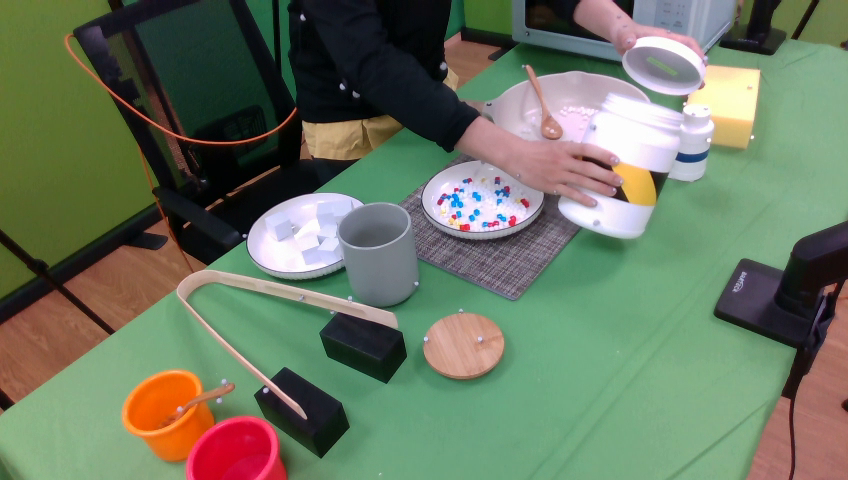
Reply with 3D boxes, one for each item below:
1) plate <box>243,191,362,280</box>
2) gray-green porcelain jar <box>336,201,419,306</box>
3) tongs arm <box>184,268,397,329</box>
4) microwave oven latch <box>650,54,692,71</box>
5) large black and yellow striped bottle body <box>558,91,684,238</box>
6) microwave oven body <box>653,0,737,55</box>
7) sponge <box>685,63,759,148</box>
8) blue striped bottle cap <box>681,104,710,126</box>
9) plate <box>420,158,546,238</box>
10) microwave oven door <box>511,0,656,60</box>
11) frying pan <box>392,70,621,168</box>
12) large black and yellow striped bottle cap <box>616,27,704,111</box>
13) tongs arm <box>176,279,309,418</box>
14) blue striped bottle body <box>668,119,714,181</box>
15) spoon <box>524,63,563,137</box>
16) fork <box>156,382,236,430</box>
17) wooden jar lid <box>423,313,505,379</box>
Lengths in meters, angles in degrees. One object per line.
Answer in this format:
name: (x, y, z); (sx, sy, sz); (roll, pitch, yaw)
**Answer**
plate: (-0.188, -0.005, 0.992); (0.207, 0.039, 0.206); (-3, 41, 3)
gray-green porcelain jar: (-0.064, 0.024, 0.872); (0.106, 0.127, 0.105); (-4, 41, 4)
tongs arm: (-0.202, 0.084, 0.848); (0.382, 0.027, 0.051); (11, 45, 35)
microwave oven latch: (0.530, -0.386, 1.301); (0.078, 0.029, 0.030); (24, 50, 32)
large black and yellow striped bottle body: (0.285, -0.110, 0.875); (0.131, 0.184, 0.130); (15, 21, -5)
microwave oven body: (0.475, -0.602, 1.411); (0.438, 0.261, 0.327); (23, 50, 32)
sponge: (0.569, -0.263, 1.164); (0.117, 0.061, 0.207); (13, 45, 22)
blue striped bottle cap: (0.444, -0.205, 0.989); (0.044, 0.021, 0.044); (-2, 41, 2)
plate: (0.099, -0.067, 1.017); (0.209, 0.038, 0.208); (-4, 40, 4)
microwave oven door: (0.351, -0.540, 1.349); (0.353, 0.245, 0.039); (24, 50, 31)
frying pan: (0.176, -0.248, 1.165); (0.487, 0.103, 0.306); (12, 42, 9)
large black and yellow striped bottle cap: (0.327, -0.236, 0.840); (0.114, 0.115, 0.019); (15, 30, 24)
tongs arm: (-0.254, 0.132, 0.801); (0.028, 0.028, 0.384); (-41, 40, -23)
blue striped bottle body: (0.450, -0.166, 1.022); (0.063, 0.121, 0.063); (-4, 41, 4)
spoon: (0.234, -0.281, 1.203); (0.041, 0.022, 0.192); (-13, 68, 0)
fork: (-0.262, 0.189, 0.690); (0.018, 0.206, 0.028); (49, 43, -7)
wooden jar lid: (0.053, 0.142, 0.800); (0.108, 0.021, 0.108); (-5, 39, 4)
